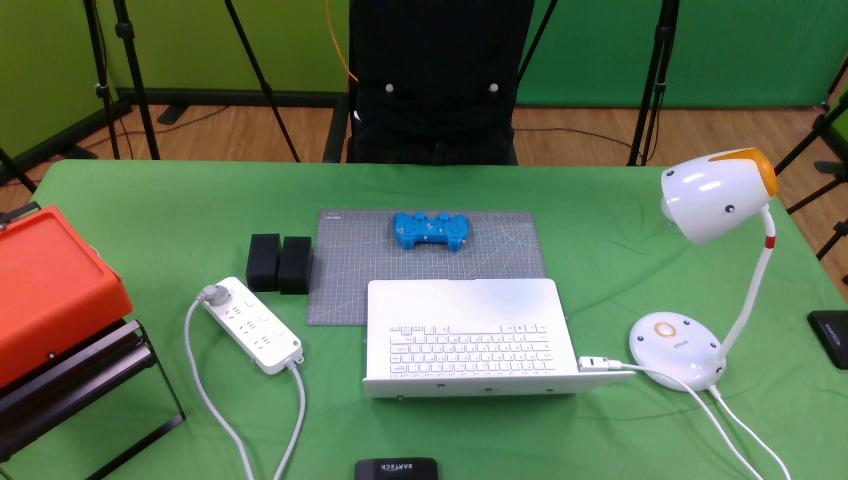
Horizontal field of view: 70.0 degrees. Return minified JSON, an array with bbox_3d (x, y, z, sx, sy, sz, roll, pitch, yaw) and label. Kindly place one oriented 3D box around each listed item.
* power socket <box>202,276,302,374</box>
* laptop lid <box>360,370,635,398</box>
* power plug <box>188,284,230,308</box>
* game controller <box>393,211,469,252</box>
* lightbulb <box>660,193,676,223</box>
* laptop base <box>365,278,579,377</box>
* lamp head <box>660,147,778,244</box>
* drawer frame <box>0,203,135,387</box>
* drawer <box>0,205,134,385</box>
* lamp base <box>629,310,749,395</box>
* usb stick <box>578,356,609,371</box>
[{"bbox_3d":[-0.296,0.142,1.033,0.072,0.033,0.225,-34,58,-31],"label":"power socket"},{"bbox_3d":[0.090,0.208,0.863,0.357,0.242,0.013,0,70,-6],"label":"laptop lid"},{"bbox_3d":[-0.368,0.100,1.036,0.072,0.053,0.035,-27,54,-24],"label":"power plug"},{"bbox_3d":[0.014,-0.027,1.204,0.155,0.052,0.096,2,52,-2],"label":"game controller"},{"bbox_3d":[0.366,-0.060,0.806,0.060,0.107,0.059,17,60,-32],"label":"lightbulb"},{"bbox_3d":[0.077,0.162,1.053,0.355,0.023,0.234,0,44,-4],"label":"laptop base"},{"bbox_3d":[0.389,-0.063,0.784,0.123,0.113,0.112,-22,33,37],"label":"lamp head"},{"bbox_3d":[-0.536,0.073,0.798,0.200,0.083,0.213,36,54,26],"label":"drawer frame"},{"bbox_3d":[-0.533,0.071,0.802,0.193,0.073,0.211,37,55,27],"label":"drawer"},{"bbox_3d":[0.447,0.142,0.984,0.161,0.181,0.178,-24,55,-24],"label":"lamp base"},{"bbox_3d":[0.274,0.207,1.007,0.059,0.027,0.021,0,51,1],"label":"usb stick"}]
